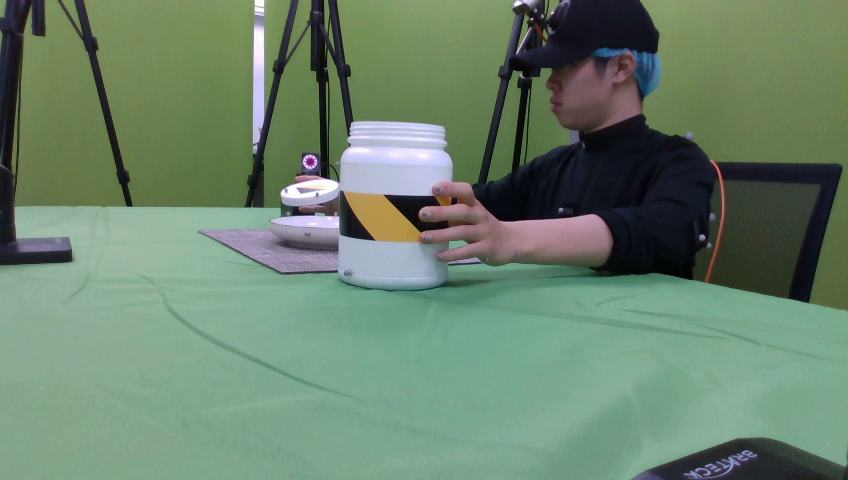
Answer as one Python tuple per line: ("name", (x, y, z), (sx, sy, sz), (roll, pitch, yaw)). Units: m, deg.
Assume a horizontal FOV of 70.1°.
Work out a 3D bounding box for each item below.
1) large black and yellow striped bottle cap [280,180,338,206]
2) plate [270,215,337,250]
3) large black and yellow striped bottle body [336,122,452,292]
("large black and yellow striped bottle cap", (-0.228, -0.094, 1.198), (0.115, 0.019, 0.115), (-4, 22, 2))
("plate", (-0.145, -0.013, 0.992), (0.208, 0.039, 0.207), (2, 7, 0))
("large black and yellow striped bottle body", (-0.035, -0.041, 0.703), (0.131, 0.184, 0.130), (3, 7, 0))
